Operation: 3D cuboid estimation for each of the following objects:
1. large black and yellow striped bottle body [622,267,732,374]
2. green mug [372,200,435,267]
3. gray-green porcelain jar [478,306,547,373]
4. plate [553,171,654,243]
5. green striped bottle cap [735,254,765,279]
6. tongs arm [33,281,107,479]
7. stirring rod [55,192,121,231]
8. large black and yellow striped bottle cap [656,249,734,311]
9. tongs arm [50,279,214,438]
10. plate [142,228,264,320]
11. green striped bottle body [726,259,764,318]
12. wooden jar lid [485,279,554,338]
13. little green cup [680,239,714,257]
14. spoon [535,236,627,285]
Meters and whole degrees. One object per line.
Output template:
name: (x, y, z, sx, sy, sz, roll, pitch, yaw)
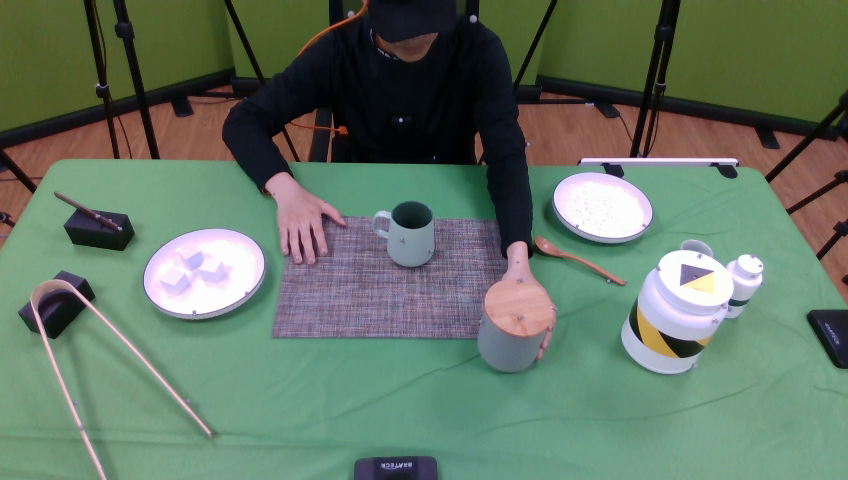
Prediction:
large black and yellow striped bottle body: (0.415, 0.119, 0.997, 0.131, 0.185, 0.130, 2, 46, -2)
green mug: (-0.040, -0.015, 1.145, 0.125, 0.105, 0.092, 16, 48, 12)
gray-green porcelain jar: (0.144, 0.148, 0.989, 0.106, 0.127, 0.105, 2, 50, -2)
plate: (0.373, -0.066, 1.274, 0.209, 0.038, 0.208, 2, 46, -2)
green striped bottle cap: (0.566, 0.046, 1.051, 0.044, 0.020, 0.044, 0, 45, 0)
tongs arm: (-0.517, 0.214, 0.909, 0.051, 0.026, 0.383, -29, 63, -27)
stirring rod: (-0.632, -0.055, 1.138, 0.175, 0.014, 0.006, 24, 50, 19)
large black and yellow striped bottle cap: (0.419, 0.061, 0.938, 0.115, 0.019, 0.114, 2, 47, -2)
tongs arm: (-0.459, 0.178, 0.949, 0.386, 0.028, 0.028, 37, 60, 17)
plate: (-0.395, 0.064, 1.095, 0.208, 0.039, 0.206, 2, 46, -2)
green striped bottle body: (0.563, 0.081, 1.089, 0.063, 0.120, 0.063, 2, 46, -2)
wooden jar lid: (0.147, 0.108, 0.940, 0.108, 0.021, 0.107, 4, 47, -4)
little green cup: (0.530, 0.033, 1.189, 0.061, 0.039, 0.061, 2, 47, -2)
spoon: (0.303, 0.040, 1.178, 0.193, 0.022, 0.041, 25, 31, 19)
